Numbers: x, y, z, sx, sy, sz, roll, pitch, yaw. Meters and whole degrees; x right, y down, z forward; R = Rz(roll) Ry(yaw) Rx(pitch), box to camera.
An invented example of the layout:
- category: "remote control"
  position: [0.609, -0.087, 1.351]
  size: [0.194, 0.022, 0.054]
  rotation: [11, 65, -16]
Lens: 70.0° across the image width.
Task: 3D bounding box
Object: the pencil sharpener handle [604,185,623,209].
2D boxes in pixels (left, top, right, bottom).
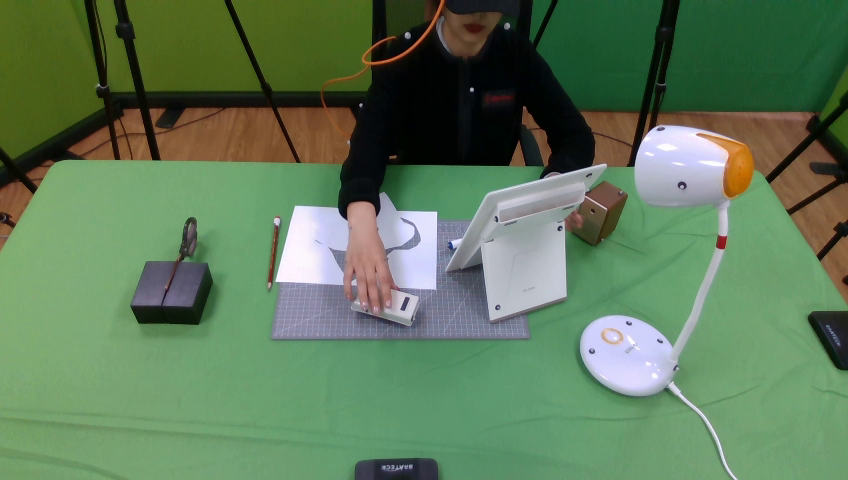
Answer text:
- category: "pencil sharpener handle"
  position: [0.390, -0.091, 1.236]
  size: [0.030, 0.068, 0.036]
  rotation: [-33, 69, -31]

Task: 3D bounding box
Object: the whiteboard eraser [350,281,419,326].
- category: "whiteboard eraser"
  position: [-0.069, 0.113, 1.065]
  size: [0.112, 0.042, 0.055]
  rotation: [14, 46, 9]

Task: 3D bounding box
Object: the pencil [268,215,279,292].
- category: "pencil"
  position: [-0.291, 0.023, 1.164]
  size: [0.012, 0.012, 0.192]
  rotation: [-2, 48, -6]

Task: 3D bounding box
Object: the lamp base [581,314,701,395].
- category: "lamp base"
  position: [0.361, 0.145, 0.973]
  size: [0.178, 0.181, 0.160]
  rotation: [34, 53, 23]

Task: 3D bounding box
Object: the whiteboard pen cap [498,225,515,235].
- category: "whiteboard pen cap"
  position: [0.166, -0.019, 1.222]
  size: [0.033, 0.018, 0.018]
  rotation: [-15, 49, -19]

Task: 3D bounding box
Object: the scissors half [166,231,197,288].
- category: "scissors half"
  position: [-0.440, 0.036, 1.098]
  size: [0.013, 0.040, 0.174]
  rotation: [11, 28, -9]

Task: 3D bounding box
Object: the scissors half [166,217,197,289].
- category: "scissors half"
  position: [-0.436, 0.020, 1.086]
  size: [0.013, 0.040, 0.174]
  rotation: [6, 47, -6]

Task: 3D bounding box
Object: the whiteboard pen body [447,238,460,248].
- category: "whiteboard pen body"
  position: [0.112, -0.006, 1.203]
  size: [0.141, 0.017, 0.017]
  rotation: [-14, 49, -18]

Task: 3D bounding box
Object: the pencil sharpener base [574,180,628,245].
- category: "pencil sharpener base"
  position: [0.355, -0.056, 1.217]
  size: [0.076, 0.107, 0.061]
  rotation: [-33, 56, -31]

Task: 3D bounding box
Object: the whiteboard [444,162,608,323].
- category: "whiteboard"
  position: [0.186, 0.025, 1.029]
  size: [0.217, 0.306, 0.143]
  rotation: [-14, 68, -18]

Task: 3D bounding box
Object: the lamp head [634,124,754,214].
- category: "lamp head"
  position: [0.351, -0.089, 0.776]
  size: [0.112, 0.113, 0.122]
  rotation: [-30, 30, -28]
